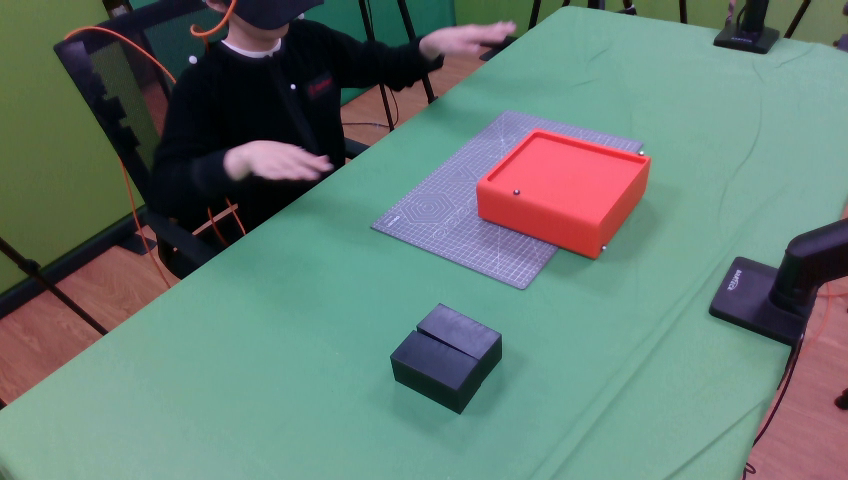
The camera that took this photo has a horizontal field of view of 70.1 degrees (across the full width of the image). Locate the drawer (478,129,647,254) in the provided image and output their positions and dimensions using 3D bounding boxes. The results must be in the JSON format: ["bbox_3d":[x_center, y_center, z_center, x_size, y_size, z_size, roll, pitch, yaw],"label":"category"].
[{"bbox_3d":[0.227,-0.085,0.994,0.210,0.073,0.195,23,48,30],"label":"drawer"}]

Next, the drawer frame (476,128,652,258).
[{"bbox_3d":[0.229,-0.086,0.992,0.212,0.083,0.202,22,48,29],"label":"drawer frame"}]

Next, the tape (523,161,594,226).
[{"bbox_3d":[0.221,-0.078,0.995,0.117,0.053,0.116,-4,40,4],"label":"tape"}]
